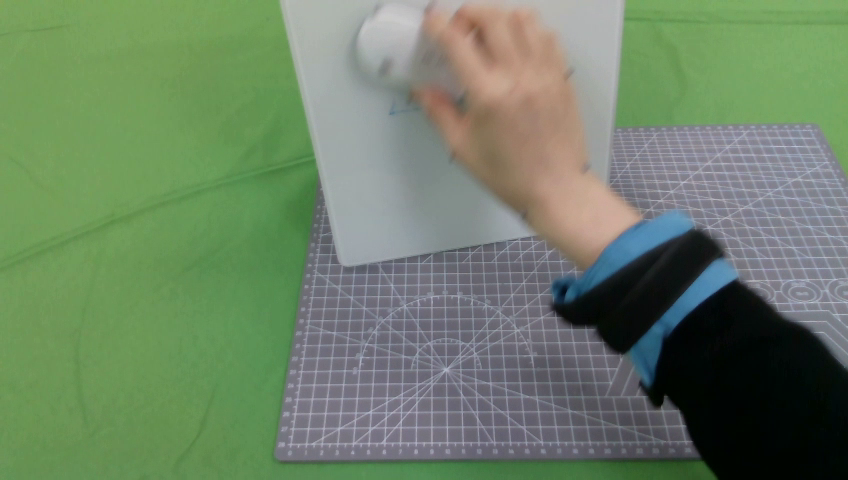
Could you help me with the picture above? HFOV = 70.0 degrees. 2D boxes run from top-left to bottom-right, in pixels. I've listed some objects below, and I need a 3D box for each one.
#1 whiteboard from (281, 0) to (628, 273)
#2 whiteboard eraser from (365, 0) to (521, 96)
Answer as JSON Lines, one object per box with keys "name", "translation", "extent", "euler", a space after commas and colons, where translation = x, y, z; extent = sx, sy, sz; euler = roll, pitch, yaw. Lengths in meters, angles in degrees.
{"name": "whiteboard", "translation": [0.018, -0.156, 0.446], "extent": [0.217, 0.308, 0.142], "euler": [-9, 34, -4]}
{"name": "whiteboard eraser", "translation": [0.013, -0.120, 0.378], "extent": [0.102, 0.041, 0.018], "euler": [14, 31, -17]}
